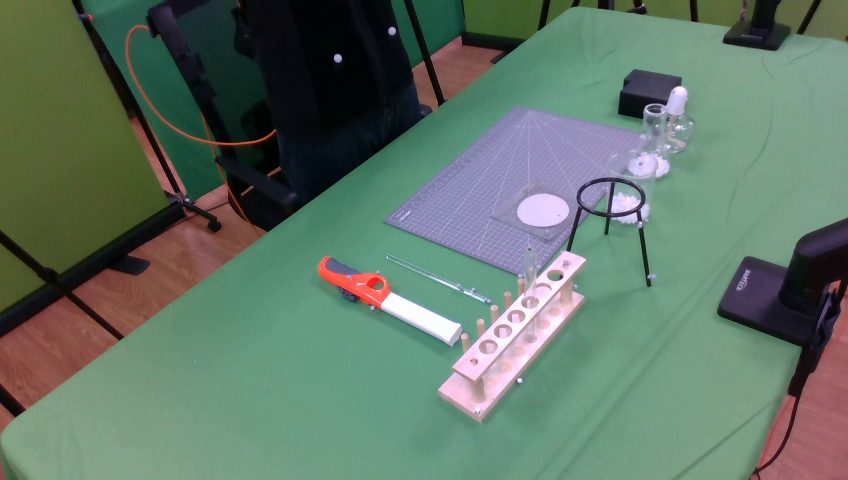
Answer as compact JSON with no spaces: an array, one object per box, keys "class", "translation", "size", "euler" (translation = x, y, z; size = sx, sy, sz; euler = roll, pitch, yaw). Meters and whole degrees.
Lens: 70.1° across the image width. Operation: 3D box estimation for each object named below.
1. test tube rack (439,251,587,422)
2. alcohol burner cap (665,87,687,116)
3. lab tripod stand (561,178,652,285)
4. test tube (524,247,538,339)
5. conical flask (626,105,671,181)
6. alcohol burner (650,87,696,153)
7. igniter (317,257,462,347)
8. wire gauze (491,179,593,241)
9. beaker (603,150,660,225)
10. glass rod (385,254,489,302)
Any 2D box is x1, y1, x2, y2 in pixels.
[{"class":"test tube rack","translation":[0.118,0.111,0.780],"size":[0.066,0.085,0.243],"euler":[26,51,34]},{"class":"alcohol burner cap","translation":[0.445,-0.244,1.060],"size":[0.034,0.048,0.033],"euler":[-2,45,3]},{"class":"lab tripod stand","translation":[0.263,-0.014,0.864],"size":[0.148,0.132,0.147],"euler":[-7,38,6]},{"class":"test tube","translation":[0.133,0.070,0.749],"size":[0.017,0.151,0.017],"euler":[-5,38,4]},{"class":"conical flask","translation":[0.388,-0.168,1.031],"size":[0.075,0.122,0.075],"euler":[-6,40,5]},{"class":"alcohol burner","translation":[0.448,-0.218,1.084],"size":[0.078,0.119,0.077],"euler":[-6,38,5]},{"class":"igniter","translation":[-0.061,0.086,0.891],"size":[0.274,0.025,0.057],"euler":[23,59,33]},{"class":"wire gauze","translation":[0.198,-0.051,1.014],"size":[0.125,0.011,0.120],"euler":[-38,48,-27]},{"class":"beaker","translation":[0.324,-0.080,0.957],"size":[0.083,0.101,0.074],"euler":[7,42,20]},{"class":"glass rod","translation":[0.016,0.055,0.927],"size":[0.198,0.008,0.008],"euler":[23,50,32]}]
